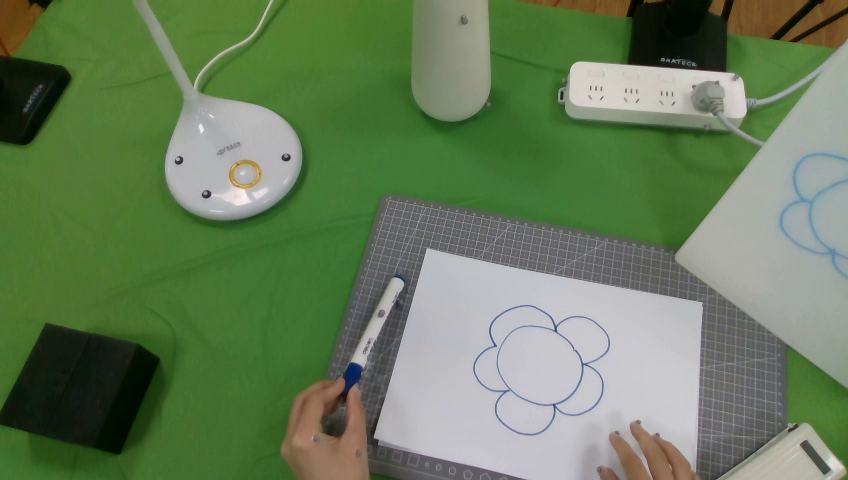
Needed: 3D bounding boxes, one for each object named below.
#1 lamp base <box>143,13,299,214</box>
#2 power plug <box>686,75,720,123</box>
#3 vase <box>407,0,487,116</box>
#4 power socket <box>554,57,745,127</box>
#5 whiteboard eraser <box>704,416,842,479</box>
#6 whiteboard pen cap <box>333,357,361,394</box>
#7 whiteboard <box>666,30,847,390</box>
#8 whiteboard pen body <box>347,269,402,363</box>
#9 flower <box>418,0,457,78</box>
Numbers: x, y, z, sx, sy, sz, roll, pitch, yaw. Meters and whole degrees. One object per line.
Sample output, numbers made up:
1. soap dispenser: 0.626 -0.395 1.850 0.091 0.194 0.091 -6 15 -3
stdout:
1. lamp base: -0.241 -0.143 0.657 0.160 0.182 0.178 -40 66 -16
2. power plug: 0.321 -0.159 0.705 0.035 0.053 0.072 16 72 9
3. vase: 0.025 -0.231 0.681 0.098 0.201 0.097 -1 63 3
4. power socket: 0.276 -0.182 0.742 0.226 0.033 0.071 6 66 4
5. whiteboard eraser: 0.311 0.210 0.545 0.113 0.042 0.055 -29 66 -11
6. whiteboard pen cap: -0.073 0.129 0.579 0.018 0.018 0.033 17 52 10
7. whiteboard: 0.419 -0.046 0.555 0.215 0.307 0.144 41 51 20
8. whiteboard pen body: -0.053 0.086 0.614 0.017 0.017 0.140 17 53 11
9. flower: 0.039 -0.255 0.601 0.044 0.362 0.038 -28 83 -20
